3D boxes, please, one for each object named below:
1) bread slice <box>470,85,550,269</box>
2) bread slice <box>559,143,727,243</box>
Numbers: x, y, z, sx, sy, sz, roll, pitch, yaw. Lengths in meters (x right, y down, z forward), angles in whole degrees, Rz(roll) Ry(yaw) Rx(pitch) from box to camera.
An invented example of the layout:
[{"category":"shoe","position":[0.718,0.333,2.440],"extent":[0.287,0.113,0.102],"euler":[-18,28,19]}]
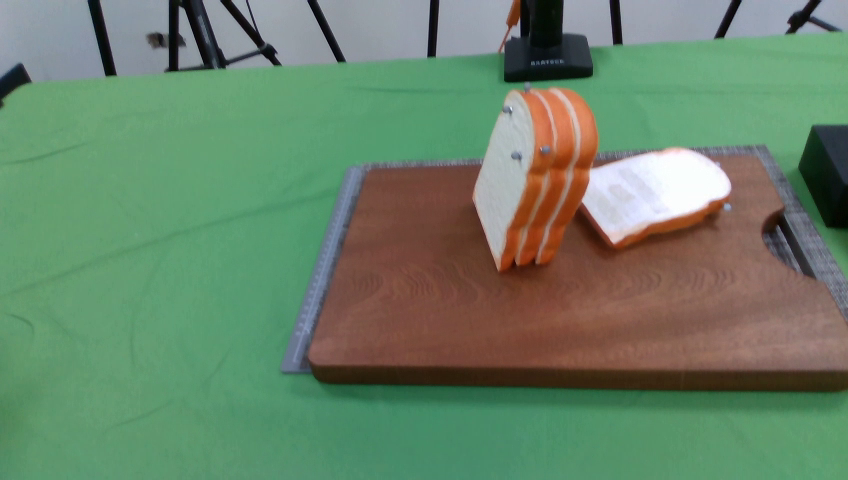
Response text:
[{"category":"bread slice","position":[0.071,-0.060,0.516],"extent":[0.018,0.135,0.106],"euler":[1,38,-14]},{"category":"bread slice","position":[0.205,-0.048,0.555],"extent":[0.131,0.019,0.103],"euler":[-17,40,-4]}]
